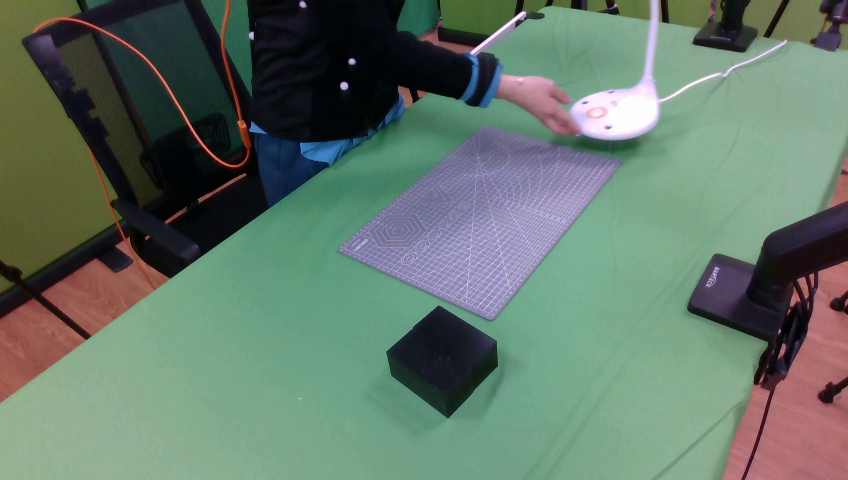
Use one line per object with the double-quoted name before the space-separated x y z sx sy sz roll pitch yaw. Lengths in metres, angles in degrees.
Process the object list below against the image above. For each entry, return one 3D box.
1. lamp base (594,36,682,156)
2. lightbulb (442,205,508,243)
"lamp base" 0.405 -0.269 1.098 0.180 0.181 0.159 -30 45 -28
"lightbulb" 0.081 -0.019 0.955 0.107 0.059 0.059 18 44 5
